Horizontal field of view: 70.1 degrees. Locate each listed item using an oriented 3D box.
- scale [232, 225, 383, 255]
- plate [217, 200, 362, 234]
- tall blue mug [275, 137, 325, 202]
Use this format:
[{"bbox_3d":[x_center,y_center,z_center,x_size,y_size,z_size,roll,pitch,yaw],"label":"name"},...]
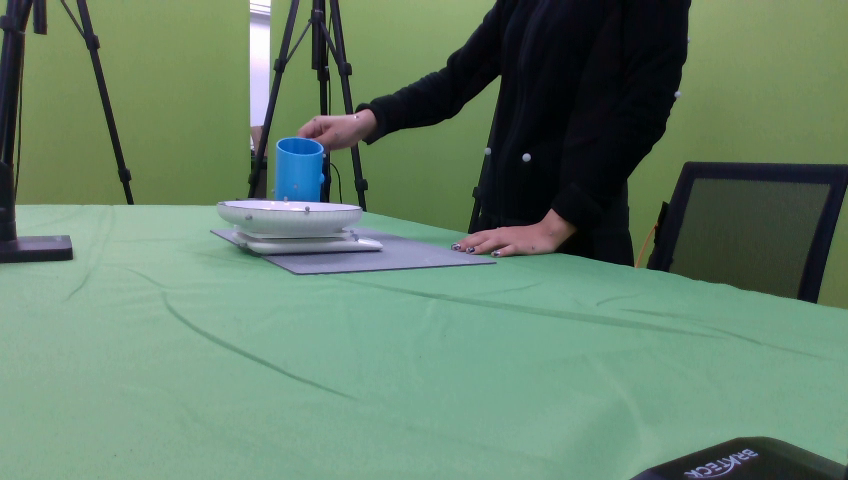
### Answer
[{"bbox_3d":[-0.178,-0.004,0.920,0.202,0.031,0.148,-1,9,-30],"label":"scale"},{"bbox_3d":[-0.196,-0.035,0.894,0.209,0.038,0.209,2,7,0],"label":"plate"},{"bbox_3d":[-0.218,-0.118,1.036,0.078,0.108,0.106,-7,36,-27],"label":"tall blue mug"}]
